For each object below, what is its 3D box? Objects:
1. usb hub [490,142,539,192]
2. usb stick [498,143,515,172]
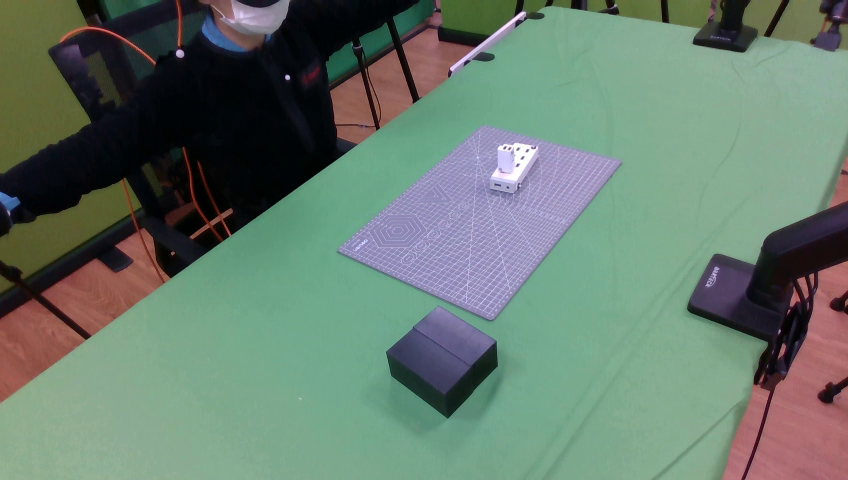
[{"bbox_3d":[0.165,-0.132,1.092,0.049,0.025,0.125,15,46,24],"label":"usb hub"},{"bbox_3d":[0.144,-0.137,1.052,0.027,0.059,0.021,15,45,21],"label":"usb stick"}]
